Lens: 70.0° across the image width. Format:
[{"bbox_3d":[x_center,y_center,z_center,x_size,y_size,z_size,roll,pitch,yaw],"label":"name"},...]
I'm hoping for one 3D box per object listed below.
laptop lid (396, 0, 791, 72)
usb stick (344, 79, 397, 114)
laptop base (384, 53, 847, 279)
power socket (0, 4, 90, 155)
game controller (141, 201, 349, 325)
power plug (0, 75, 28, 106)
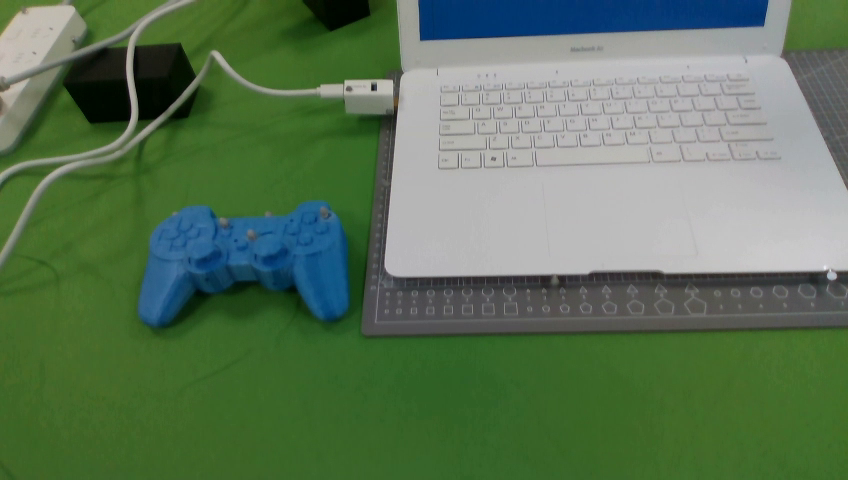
[{"bbox_3d":[0.147,-0.267,0.523,0.356,0.243,0.013,-3,25,5],"label":"laptop lid"},{"bbox_3d":[-0.042,-0.130,0.550,0.059,0.027,0.021,1,52,-4],"label":"usb stick"},{"bbox_3d":[0.149,-0.067,0.505,0.354,0.023,0.233,-1,57,4],"label":"laptop base"},{"bbox_3d":[-0.419,-0.171,0.624,0.072,0.033,0.224,1,54,5],"label":"power socket"},{"bbox_3d":[-0.132,0.012,0.456,0.155,0.052,0.096,-1,50,4],"label":"game controller"},{"bbox_3d":[-0.395,-0.126,0.559,0.072,0.053,0.035,11,54,10],"label":"power plug"}]
